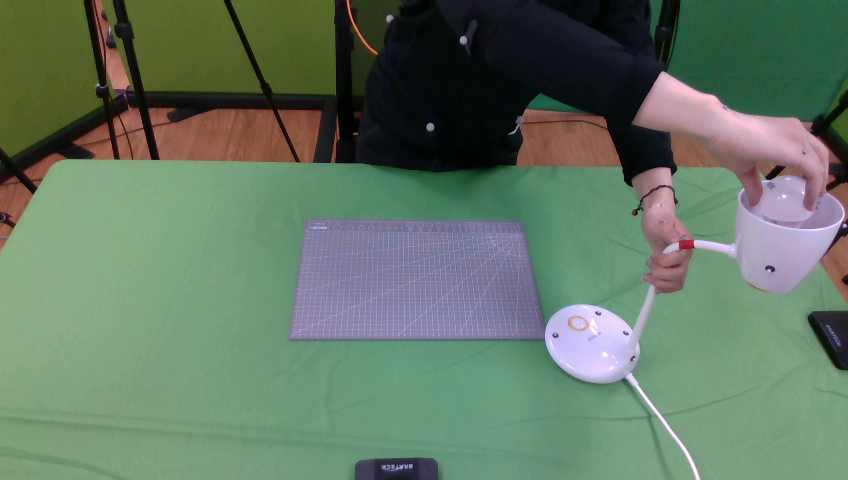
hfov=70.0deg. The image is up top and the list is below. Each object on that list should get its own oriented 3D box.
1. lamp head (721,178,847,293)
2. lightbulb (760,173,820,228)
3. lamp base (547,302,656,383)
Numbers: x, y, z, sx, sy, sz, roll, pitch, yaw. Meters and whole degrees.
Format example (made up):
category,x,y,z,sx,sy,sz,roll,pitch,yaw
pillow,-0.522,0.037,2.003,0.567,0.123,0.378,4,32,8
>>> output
category,x,y,z,sx,sy,sz,roll,pitch,yaw
lamp head,0.423,0.001,0.726,0.112,0.123,0.112,0,38,0
lightbulb,0.424,-0.027,0.710,0.059,0.108,0.059,-7,31,4
lamp base,0.304,0.127,0.982,0.160,0.181,0.178,-33,59,-29
